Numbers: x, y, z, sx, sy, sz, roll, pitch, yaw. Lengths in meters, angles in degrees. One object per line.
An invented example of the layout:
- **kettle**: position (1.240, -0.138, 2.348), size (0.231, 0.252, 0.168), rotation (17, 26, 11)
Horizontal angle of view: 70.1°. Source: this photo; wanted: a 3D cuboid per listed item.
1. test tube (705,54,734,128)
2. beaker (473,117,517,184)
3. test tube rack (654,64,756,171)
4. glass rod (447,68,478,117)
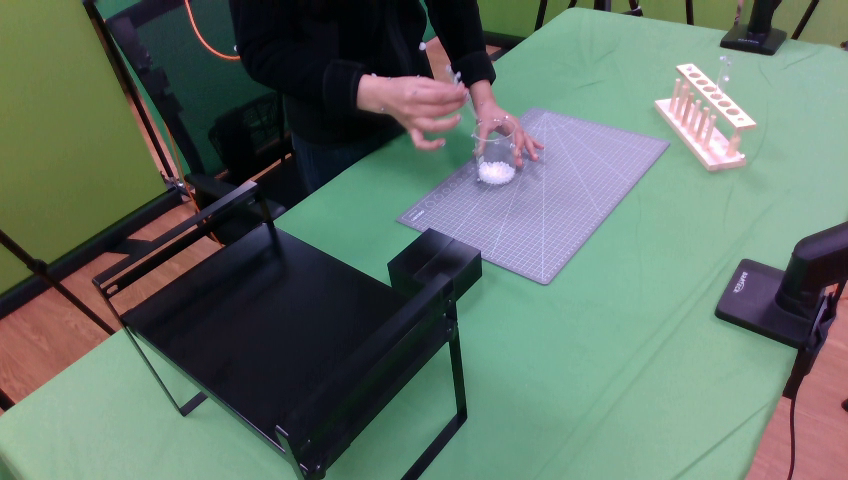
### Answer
- **test tube**: position (0.523, -0.260, 1.073), size (0.017, 0.151, 0.017), rotation (-4, 46, 5)
- **beaker**: position (0.129, -0.158, 1.074), size (0.073, 0.101, 0.084), rotation (10, 44, 21)
- **test tube rack**: position (0.510, -0.233, 1.120), size (0.067, 0.085, 0.241), rotation (-8, 41, -1)
- **glass rod**: position (0.061, -0.219, 0.911), size (0.008, 0.201, 0.008), rotation (-2, 83, 16)
